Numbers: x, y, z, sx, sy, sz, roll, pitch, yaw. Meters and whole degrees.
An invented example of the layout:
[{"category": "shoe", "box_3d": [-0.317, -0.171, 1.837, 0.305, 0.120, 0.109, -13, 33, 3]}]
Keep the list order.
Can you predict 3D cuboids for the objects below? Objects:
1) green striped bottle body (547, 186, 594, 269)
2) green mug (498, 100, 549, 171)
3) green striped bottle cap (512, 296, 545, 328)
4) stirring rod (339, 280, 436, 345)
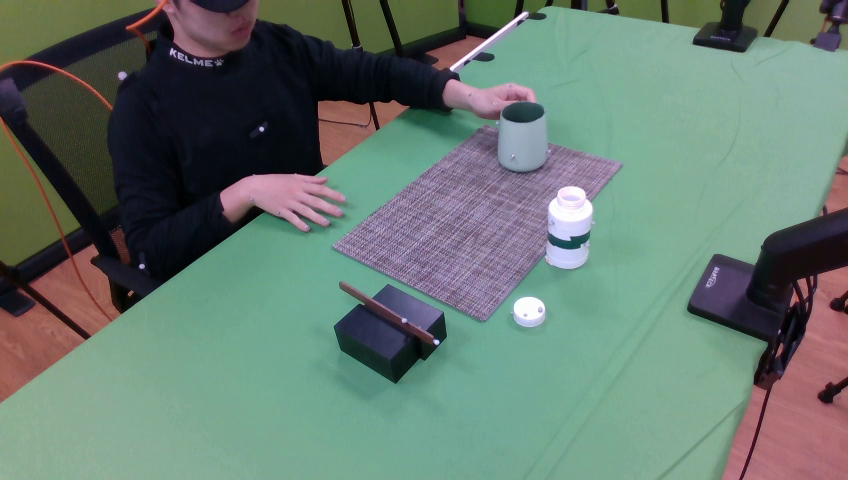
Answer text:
[{"category": "green striped bottle body", "box_3d": [0.214, -0.020, 0.886, 0.063, 0.120, 0.063, -4, 41, 4]}, {"category": "green mug", "box_3d": [0.182, -0.197, 1.101, 0.092, 0.105, 0.125, 3, 42, 12]}, {"category": "green striped bottle cap", "box_3d": [0.144, 0.099, 0.837, 0.044, 0.020, 0.044, -2, 45, 3]}, {"category": "stirring rod", "box_3d": [-0.052, 0.093, 0.795, 0.174, 0.014, 0.006, 27, 47, 33]}]
